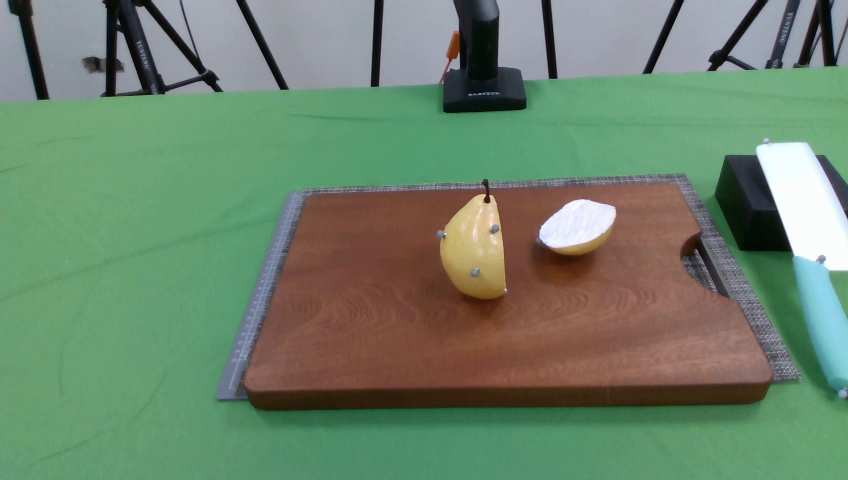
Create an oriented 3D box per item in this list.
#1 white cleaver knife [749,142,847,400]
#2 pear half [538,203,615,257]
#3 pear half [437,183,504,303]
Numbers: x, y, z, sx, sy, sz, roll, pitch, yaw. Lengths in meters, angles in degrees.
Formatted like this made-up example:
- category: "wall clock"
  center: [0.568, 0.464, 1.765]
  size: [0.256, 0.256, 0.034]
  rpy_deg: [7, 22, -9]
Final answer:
- category: "white cleaver knife"
  center: [0.349, 0.008, 0.532]
  size: [0.066, 0.022, 0.284]
  rpy_deg: [1, 53, 9]
- category: "pear half"
  center: [0.143, -0.005, 0.564]
  size: [0.070, 0.031, 0.087]
  rpy_deg: [-8, 22, 19]
- category: "pear half"
  center: [0.038, 0.000, 0.506]
  size: [0.056, 0.111, 0.075]
  rpy_deg: [-8, 34, -4]
